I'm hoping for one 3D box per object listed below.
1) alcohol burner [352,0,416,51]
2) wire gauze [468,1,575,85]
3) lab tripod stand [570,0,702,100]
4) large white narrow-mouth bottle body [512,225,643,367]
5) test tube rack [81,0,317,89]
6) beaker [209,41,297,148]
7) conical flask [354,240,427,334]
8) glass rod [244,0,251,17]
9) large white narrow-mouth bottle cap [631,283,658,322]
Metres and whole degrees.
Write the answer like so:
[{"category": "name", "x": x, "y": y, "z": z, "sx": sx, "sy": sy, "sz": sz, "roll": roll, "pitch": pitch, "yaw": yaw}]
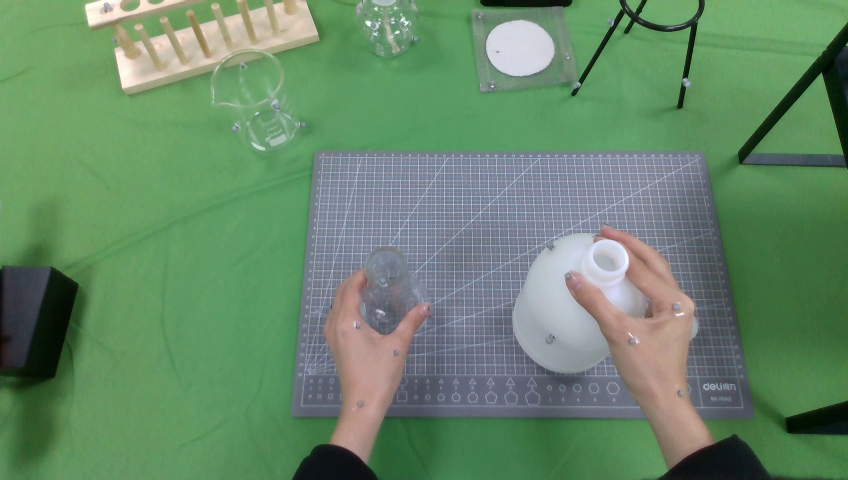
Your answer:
[{"category": "alcohol burner", "x": -0.048, "y": -0.283, "z": 0.714, "sx": 0.078, "sy": 0.120, "sz": 0.077, "roll": 0, "pitch": 65, "yaw": -1}, {"category": "wire gauze", "x": 0.120, "y": -0.250, "z": 0.757, "sx": 0.121, "sy": 0.011, "sz": 0.124, "roll": -4, "pitch": 68, "yaw": -3}, {"category": "lab tripod stand", "x": 0.247, "y": -0.234, "z": 0.683, "sx": 0.148, "sy": 0.132, "sz": 0.147, "roll": 1, "pitch": 67, "yaw": -1}, {"category": "large white narrow-mouth bottle body", "x": 0.136, "y": 0.044, "z": 0.535, "sx": 0.102, "sy": 0.196, "sz": 0.101, "roll": -1, "pitch": 66, "yaw": 2}, {"category": "test tube rack", "x": -0.260, "y": -0.265, "z": 0.721, "sx": 0.242, "sy": 0.086, "sz": 0.066, "roll": -19, "pitch": 69, "yaw": -8}, {"category": "beaker", "x": -0.186, "y": -0.153, "z": 0.668, "sx": 0.084, "sy": 0.101, "sz": 0.073, "roll": -40, "pitch": 72, "yaw": -14}, {"category": "conical flask", "x": -0.034, "y": 0.040, "z": 0.575, "sx": 0.075, "sy": 0.123, "sz": 0.075, "roll": 0, "pitch": 67, "yaw": 0}, {"category": "glass rod", "x": -0.212, "y": -0.322, "z": 0.673, "sx": 0.008, "sy": 0.201, "sz": 0.008, "roll": 2, "pitch": 66, "yaw": -4}, {"category": "large white narrow-mouth bottle cap", "x": 0.221, "y": 0.065, "z": 0.624, "sx": 0.038, "sy": 0.024, "sz": 0.037, "roll": -1, "pitch": 67, "yaw": 2}]
